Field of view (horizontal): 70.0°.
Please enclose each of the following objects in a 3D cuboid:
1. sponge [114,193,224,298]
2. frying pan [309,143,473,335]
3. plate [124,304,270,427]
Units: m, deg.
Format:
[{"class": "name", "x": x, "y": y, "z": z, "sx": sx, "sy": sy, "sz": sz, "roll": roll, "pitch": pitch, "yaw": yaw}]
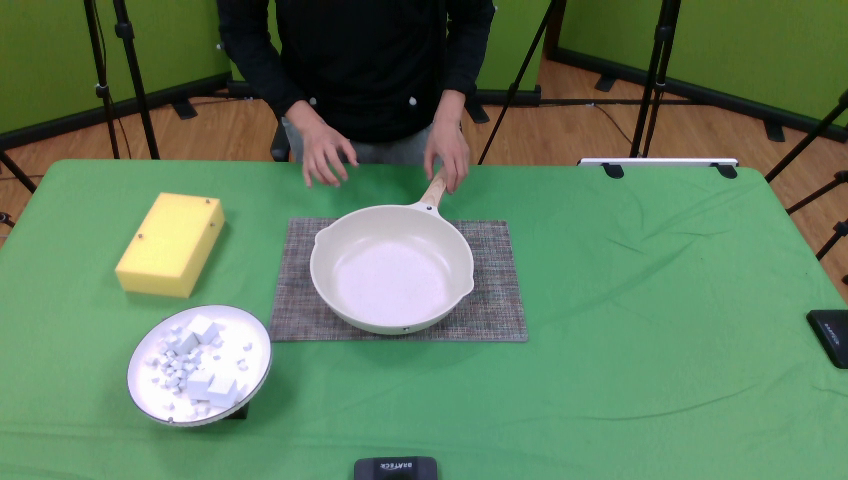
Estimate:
[{"class": "sponge", "x": -0.467, "y": 0.005, "z": 1.129, "sx": 0.118, "sy": 0.061, "sz": 0.205, "roll": 6, "pitch": 45, "yaw": 1}, {"class": "frying pan", "x": -0.018, "y": -0.022, "z": 1.155, "sx": 0.306, "sy": 0.103, "sz": 0.486, "roll": 20, "pitch": 57, "yaw": 13}, {"class": "plate", "x": -0.336, "y": 0.189, "z": 0.913, "sx": 0.208, "sy": 0.039, "sz": 0.206, "roll": 1, "pitch": 46, "yaw": -1}]
